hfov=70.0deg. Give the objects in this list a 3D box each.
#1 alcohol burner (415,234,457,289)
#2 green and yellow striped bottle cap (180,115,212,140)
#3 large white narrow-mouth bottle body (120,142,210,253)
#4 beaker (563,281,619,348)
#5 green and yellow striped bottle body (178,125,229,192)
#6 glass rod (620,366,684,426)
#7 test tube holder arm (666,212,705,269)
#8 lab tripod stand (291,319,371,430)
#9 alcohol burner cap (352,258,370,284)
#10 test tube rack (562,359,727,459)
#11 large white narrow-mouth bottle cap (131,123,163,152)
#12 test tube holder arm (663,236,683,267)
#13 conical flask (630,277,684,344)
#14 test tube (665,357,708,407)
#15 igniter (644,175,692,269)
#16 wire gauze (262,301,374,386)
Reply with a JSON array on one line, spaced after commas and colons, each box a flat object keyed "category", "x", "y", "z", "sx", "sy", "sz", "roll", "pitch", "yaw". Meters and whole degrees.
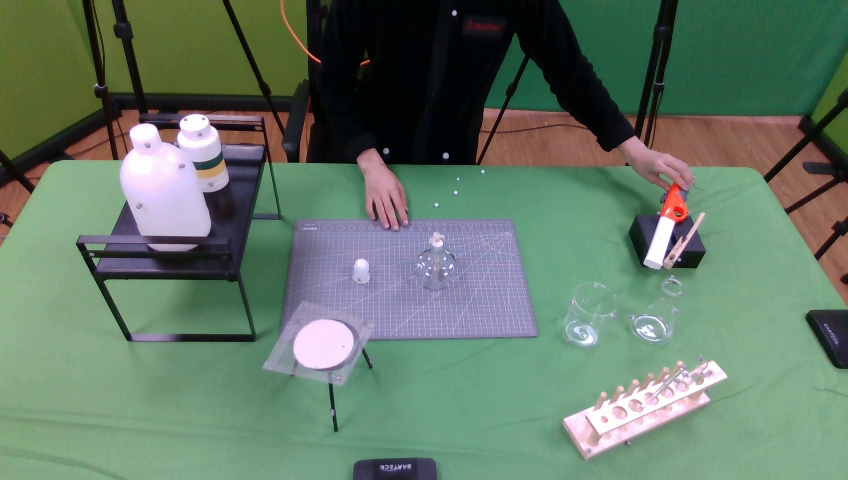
[{"category": "alcohol burner", "x": 0.022, "y": 0.033, "z": 1.100, "sx": 0.078, "sy": 0.120, "sz": 0.077, "roll": 1, "pitch": 47, "yaw": -1}, {"category": "green and yellow striped bottle cap", "x": -0.358, "y": -0.177, "z": 0.951, "sx": 0.045, "sy": 0.020, "sz": 0.045, "roll": 1, "pitch": 44, "yaw": -1}, {"category": "large white narrow-mouth bottle body", "x": -0.378, "y": -0.078, "z": 0.875, "sx": 0.102, "sy": 0.195, "sz": 0.101, "roll": 3, "pitch": 46, "yaw": -3}, {"category": "beaker", "x": 0.283, "y": 0.129, "z": 1.041, "sx": 0.074, "sy": 0.101, "sz": 0.083, "roll": 11, "pitch": 46, "yaw": 6}, {"category": "green and yellow striped bottle body", "x": -0.361, "y": -0.142, "z": 0.989, "sx": 0.063, "sy": 0.120, "sz": 0.063, "roll": 2, "pitch": 46, "yaw": -2}, {"category": "glass rod", "x": 0.322, "y": 0.227, "z": 0.866, "sx": 0.008, "sy": 0.200, "sz": 0.008, "roll": 5, "pitch": 51, "yaw": -7}, {"category": "test tube holder arm", "x": 0.507, "y": -0.001, "z": 1.171, "sx": 0.013, "sy": 0.015, "sz": 0.178, "roll": 33, "pitch": 53, "yaw": 23}, {"category": "lab tripod stand", "x": -0.146, "y": 0.194, "z": 0.923, "sx": 0.148, "sy": 0.132, "sz": 0.147, "roll": 1, "pitch": 47, "yaw": -1}, {"category": "alcohol burner cap", "x": -0.117, "y": 0.055, "z": 1.118, "sx": 0.034, "sy": 0.048, "sz": 0.033, "roll": 2, "pitch": 46, "yaw": -2}, {"category": "test tube rack", "x": 0.341, "y": 0.247, "z": 0.940, "sx": 0.243, "sy": 0.085, "sz": 0.066, "roll": -16, "pitch": 49, "yaw": -19}, {"category": "large white narrow-mouth bottle cap", "x": -0.371, "y": -0.138, "z": 0.812, "sx": 0.038, "sy": 0.024, "sz": 0.037, "roll": 3, "pitch": 46, "yaw": -3}, {"category": "test tube holder arm", "x": 0.474, "y": 0.021, "z": 1.148, "sx": 0.010, "sy": 0.015, "sz": 0.088, "roll": 34, "pitch": 53, "yaw": 24}, {"category": "conical flask", "x": 0.408, "y": 0.117, "z": 1.045, "sx": 0.075, "sy": 0.122, "sz": 0.075, "roll": 2, "pitch": 46, "yaw": -2}, {"category": "test tube", "x": 0.387, "y": 0.216, "z": 0.905, "sx": 0.017, "sy": 0.151, "sz": 0.017, "roll": 1, "pitch": 53, "yaw": -1}, {"category": "igniter", "x": 0.487, "y": -0.044, "z": 1.205, "sx": 0.057, "sy": 0.025, "sz": 0.275, "roll": 25, "pitch": 52, "yaw": 13}, {"category": "wire gauze", "x": -0.150, "y": 0.148, "z": 0.873, "sx": 0.121, "sy": 0.011, "sz": 0.124, "roll": 14, "pitch": 46, "yaw": 12}]
